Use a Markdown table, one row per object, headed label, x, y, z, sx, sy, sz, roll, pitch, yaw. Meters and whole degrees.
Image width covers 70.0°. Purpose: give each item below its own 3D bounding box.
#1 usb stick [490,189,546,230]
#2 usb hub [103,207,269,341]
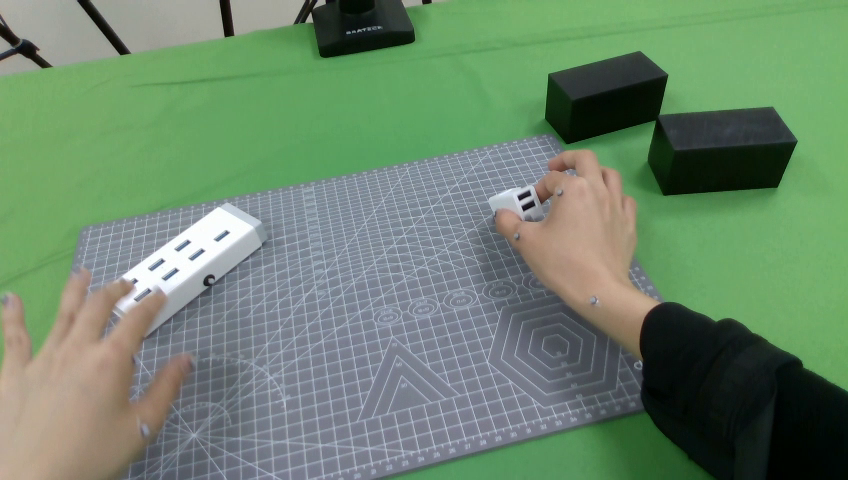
| label | x | y | z | sx | sy | sz | roll | pitch | yaw |
| --- | --- | --- | --- | --- | --- | --- | --- | --- | --- |
| usb stick | 0.073 | -0.024 | 0.494 | 0.021 | 0.027 | 0.059 | -31 | 6 | -17 |
| usb hub | -0.189 | 0.023 | 0.492 | 0.049 | 0.025 | 0.125 | 27 | 53 | 29 |
